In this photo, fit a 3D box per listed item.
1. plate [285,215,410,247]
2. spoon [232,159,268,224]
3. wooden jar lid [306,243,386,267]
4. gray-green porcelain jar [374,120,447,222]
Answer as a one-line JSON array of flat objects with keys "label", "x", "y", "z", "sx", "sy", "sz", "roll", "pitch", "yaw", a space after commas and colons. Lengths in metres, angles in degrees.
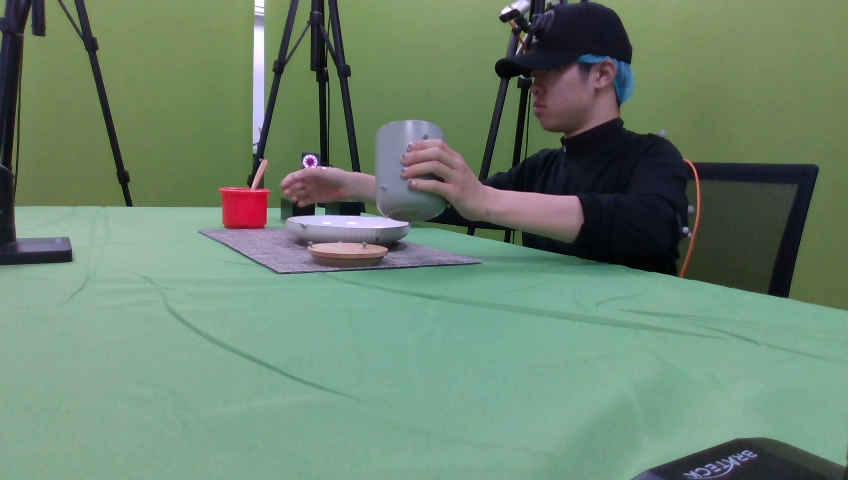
[{"label": "plate", "x": -0.127, "y": -0.015, "z": 1.012, "sx": 0.208, "sy": 0.039, "sz": 0.207, "roll": 3, "pitch": 7, "yaw": 0}, {"label": "spoon", "x": -0.343, "y": -0.101, "z": 1.218, "sx": 0.041, "sy": 0.021, "sz": 0.193, "roll": 4, "pitch": 51, "yaw": 3}, {"label": "wooden jar lid", "x": -0.105, "y": 0.020, "z": 0.816, "sx": 0.108, "sy": 0.020, "sz": 0.108, "roll": 1, "pitch": 7, "yaw": 0}, {"label": "gray-green porcelain jar", "x": -0.020, "y": -0.096, "z": 0.885, "sx": 0.106, "sy": 0.126, "sz": 0.106, "roll": -2, "pitch": -14, "yaw": 0}]
